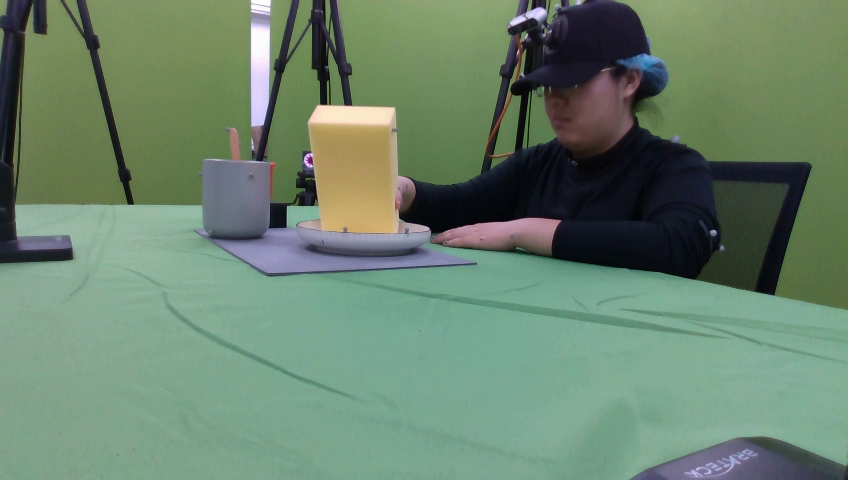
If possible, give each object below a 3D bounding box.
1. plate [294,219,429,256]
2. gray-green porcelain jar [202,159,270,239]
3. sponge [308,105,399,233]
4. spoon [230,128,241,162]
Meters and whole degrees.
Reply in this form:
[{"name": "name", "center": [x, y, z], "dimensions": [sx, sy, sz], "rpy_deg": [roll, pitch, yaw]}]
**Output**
[{"name": "plate", "center": [-0.096, -0.005, 0.936], "dimensions": [0.208, 0.039, 0.207], "rpy_deg": [3, 7, 0]}, {"name": "gray-green porcelain jar", "center": [-0.310, -0.068, 0.999], "dimensions": [0.106, 0.126, 0.106], "rpy_deg": [3, 7, 0]}, {"name": "sponge", "center": [-0.102, -0.097, 0.922], "dimensions": [0.118, 0.207, 0.061], "rpy_deg": [3, 37, 4]}, {"name": "spoon", "center": [-0.314, -0.109, 1.025], "dimensions": [0.042, 0.193, 0.021], "rpy_deg": [-5, -19, -16]}]
